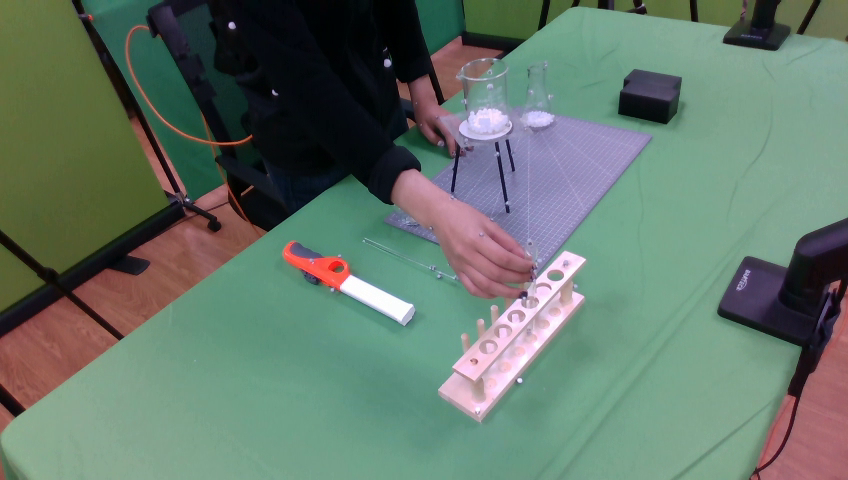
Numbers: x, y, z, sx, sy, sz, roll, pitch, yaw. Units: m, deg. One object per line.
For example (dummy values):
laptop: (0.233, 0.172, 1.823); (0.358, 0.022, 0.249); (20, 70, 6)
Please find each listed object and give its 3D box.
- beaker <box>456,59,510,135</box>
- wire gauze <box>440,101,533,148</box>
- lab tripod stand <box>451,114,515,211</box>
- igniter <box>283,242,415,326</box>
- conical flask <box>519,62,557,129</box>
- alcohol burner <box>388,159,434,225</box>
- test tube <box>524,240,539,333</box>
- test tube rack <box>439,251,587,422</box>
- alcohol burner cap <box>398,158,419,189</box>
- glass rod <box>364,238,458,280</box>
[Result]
beaker: (0.098, -0.226, 0.964); (0.084, 0.101, 0.073); (-7, 39, 4)
wire gauze: (0.100, -0.189, 0.995); (0.125, 0.011, 0.120); (-16, 37, -6)
lab tripod stand: (0.113, -0.140, 1.037); (0.148, 0.132, 0.147); (-6, 38, 5)
igniter: (-0.126, 0.062, 0.931); (0.274, 0.025, 0.057); (24, 61, 33)
conical flask: (0.225, -0.288, 1.198); (0.075, 0.122, 0.075); (-6, 40, 5)
alcohol burner: (-0.023, -0.084, 1.013); (0.078, 0.119, 0.077); (-4, 39, 4)
test tube: (0.131, 0.061, 0.742); (0.017, 0.151, 0.017); (-4, 40, 4)
test tube rack: (0.118, 0.111, 0.780); (0.066, 0.085, 0.243); (26, 51, 35)
alcohol burner cap: (-0.027, -0.111, 0.989); (0.034, 0.048, 0.033); (-3, 47, 4)
glass rod: (-0.026, 0.029, 0.966); (0.198, 0.008, 0.008); (21, 49, 35)
